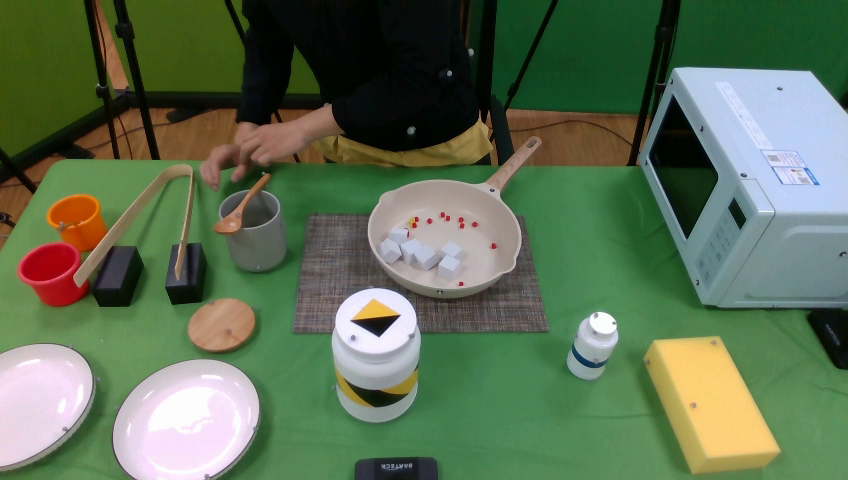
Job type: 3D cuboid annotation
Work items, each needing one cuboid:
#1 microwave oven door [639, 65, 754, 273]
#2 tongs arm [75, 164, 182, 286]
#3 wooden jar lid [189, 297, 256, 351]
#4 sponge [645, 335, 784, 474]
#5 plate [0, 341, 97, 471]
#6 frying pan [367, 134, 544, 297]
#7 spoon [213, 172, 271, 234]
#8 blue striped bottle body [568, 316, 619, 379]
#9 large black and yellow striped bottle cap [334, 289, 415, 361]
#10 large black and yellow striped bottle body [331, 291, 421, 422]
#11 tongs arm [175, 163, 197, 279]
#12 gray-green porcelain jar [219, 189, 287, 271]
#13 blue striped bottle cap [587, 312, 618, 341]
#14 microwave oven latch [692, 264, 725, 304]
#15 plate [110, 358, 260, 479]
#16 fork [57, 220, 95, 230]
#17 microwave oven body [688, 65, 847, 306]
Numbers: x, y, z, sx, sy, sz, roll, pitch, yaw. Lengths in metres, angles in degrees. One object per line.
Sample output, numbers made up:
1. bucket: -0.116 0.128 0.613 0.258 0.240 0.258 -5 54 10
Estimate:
1. microwave oven door: 0.522 -0.147 1.193 0.039 0.245 0.353 0 47 -3
2. tongs arm: -0.547 -0.043 1.143 0.028 0.028 0.385 -3 35 7
3. wooden jar lid: -0.342 0.145 1.033 0.108 0.021 0.107 2 45 -2
4. sponge: 0.449 0.253 0.956 0.118 0.061 0.205 -4 46 -7
5. plate: -0.599 0.247 0.904 0.209 0.038 0.208 2 47 -2
6. frying pan: 0.104 -0.069 1.205 0.305 0.103 0.487 32 61 23
7. spoon: -0.312 -0.069 1.068 0.041 0.022 0.193 9 43 11
8. blue striped bottle body: 0.277 0.169 0.984 0.063 0.121 0.062 2 46 -2
9. large black and yellow striped bottle cap: -0.069 0.117 0.850 0.115 0.019 0.114 2 45 -2
10. large black and yellow striped bottle body: -0.071 0.175 0.911 0.131 0.185 0.130 2 47 -2
11. tongs arm: -0.462 -0.049 1.149 0.051 0.026 0.382 -8 36 -7
12. gray-green porcelain jar: -0.309 -0.014 1.113 0.106 0.127 0.105 2 46 -2
13. blue striped bottle cap: 0.279 0.134 0.947 0.044 0.021 0.044 2 44 -2
14. microwave oven latch: 0.522 0.081 1.116 0.030 0.029 0.078 2 46 -1
15. plate: -0.349 0.273 0.899 0.208 0.039 0.206 2 46 -2
16. fork: -0.624 -0.027 1.086 0.028 0.207 0.018 -3 92 -17
17. microwave oven body: 0.669 -0.111 1.176 0.326 0.261 0.439 0 46 -3
